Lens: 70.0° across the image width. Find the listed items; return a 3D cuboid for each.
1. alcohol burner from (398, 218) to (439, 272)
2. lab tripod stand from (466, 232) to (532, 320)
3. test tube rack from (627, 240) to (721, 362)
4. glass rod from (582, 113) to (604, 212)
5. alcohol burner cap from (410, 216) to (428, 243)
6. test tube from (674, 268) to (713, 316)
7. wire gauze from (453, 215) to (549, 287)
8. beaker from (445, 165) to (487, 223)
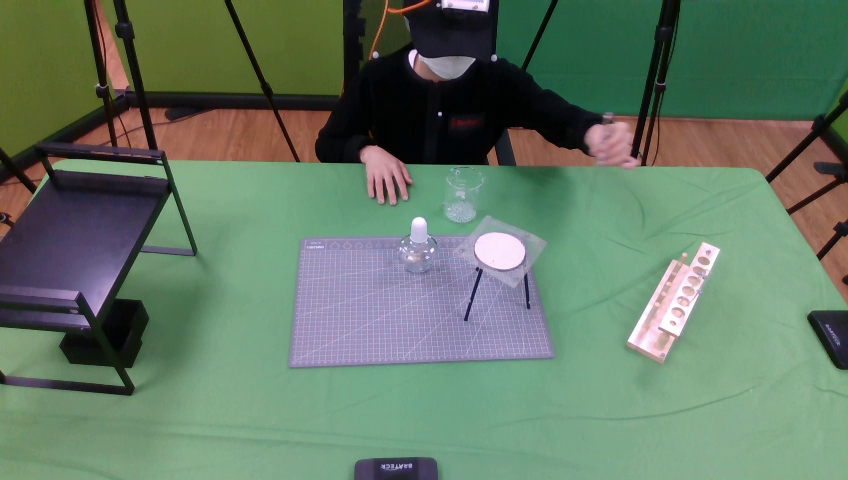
[{"bbox_3d":[-0.010,0.004,1.123,0.078,0.120,0.077,1,47,0],"label":"alcohol burner"},{"bbox_3d":[0.125,0.059,1.065,0.148,0.132,0.147,1,45,0],"label":"lab tripod stand"},{"bbox_3d":[0.452,0.098,1.087,0.066,0.085,0.242,28,51,22],"label":"test tube rack"},{"bbox_3d":[0.284,-0.124,1.019,0.008,0.201,0.008,-1,42,1],"label":"glass rod"},{"bbox_3d":[-0.009,-0.022,1.099,0.034,0.048,0.033,2,41,-1],"label":"alcohol burner cap"},{"bbox_3d":[0.445,0.098,1.017,0.017,0.151,0.017,4,48,-4],"label":"test tube"},{"bbox_3d":[0.129,0.012,1.017,0.124,0.011,0.121,28,50,23],"label":"wire gauze"},{"bbox_3d":[0.082,-0.091,1.236,0.084,0.101,0.073,-7,47,-11],"label":"beaker"}]
